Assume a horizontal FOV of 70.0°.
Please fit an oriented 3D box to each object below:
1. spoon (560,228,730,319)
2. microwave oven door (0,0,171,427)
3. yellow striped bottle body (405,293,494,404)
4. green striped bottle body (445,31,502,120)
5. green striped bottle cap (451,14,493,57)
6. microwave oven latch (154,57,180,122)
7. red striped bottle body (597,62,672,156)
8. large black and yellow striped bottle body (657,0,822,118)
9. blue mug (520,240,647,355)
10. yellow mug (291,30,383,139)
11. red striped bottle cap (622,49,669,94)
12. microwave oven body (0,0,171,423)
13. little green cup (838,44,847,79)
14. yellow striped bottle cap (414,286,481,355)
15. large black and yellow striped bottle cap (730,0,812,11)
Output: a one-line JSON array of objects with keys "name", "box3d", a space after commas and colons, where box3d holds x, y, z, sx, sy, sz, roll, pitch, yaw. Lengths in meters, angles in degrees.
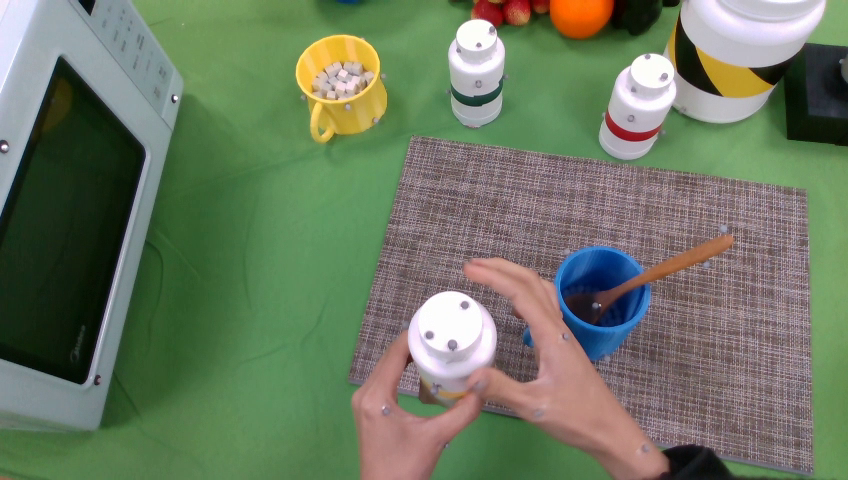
[{"name": "spoon", "box3d": [0.183, 0.036, 0.541, 0.022, 0.194, 0.041, 9, 60, -31]}, {"name": "microwave oven door", "box3d": [-0.341, -0.023, 0.564, 0.039, 0.245, 0.353, 0, 67, 5]}, {"name": "yellow striped bottle body", "box3d": [0.020, 0.078, 0.450, 0.063, 0.121, 0.062, -2, 62, 5]}, {"name": "green striped bottle body", "box3d": [0.056, -0.197, 0.693, 0.063, 0.120, 0.062, -1, 67, 4]}, {"name": "green striped bottle cap", "box3d": [0.051, -0.218, 0.646, 0.044, 0.020, 0.044, -1, 67, 2]}, {"name": "microwave oven latch", "box3d": [-0.322, -0.183, 0.741, 0.030, 0.030, 0.078, 2, 68, 5]}, {"name": "red striped bottle body", "box3d": [0.229, -0.149, 0.660, 0.063, 0.120, 0.062, -3, 65, 6]}, {"name": "large black and yellow striped bottle body", "box3d": [0.335, -0.235, 0.653, 0.131, 0.185, 0.130, -2, 67, 4]}, {"name": "blue mug", "box3d": [0.144, 0.065, 0.579, 0.116, 0.106, 0.081, -25, 66, -6]}, {"name": "yellow mug", "box3d": [-0.109, -0.179, 0.728, 0.099, 0.064, 0.130, 19, 70, 12]}, {"name": "red striped bottle cap", "box3d": [0.224, -0.171, 0.612, 0.044, 0.018, 0.044, 0, 66, 0]}, {"name": "microwave oven body", "box3d": [-0.485, -0.061, 0.597, 0.326, 0.262, 0.438, 1, 68, 4]}, {"name": "little green cup", "box3d": [0.482, -0.197, 0.650, 0.061, 0.039, 0.061, 0, 65, 1]}, {"name": "yellow striped bottle cap", "box3d": [0.016, 0.053, 0.403, 0.044, 0.019, 0.044, -2, 63, 5]}, {"name": "large black and yellow striped bottle cap", "box3d": [0.327, -0.267, 0.576, 0.115, 0.019, 0.114, -2, 66, 4]}]
